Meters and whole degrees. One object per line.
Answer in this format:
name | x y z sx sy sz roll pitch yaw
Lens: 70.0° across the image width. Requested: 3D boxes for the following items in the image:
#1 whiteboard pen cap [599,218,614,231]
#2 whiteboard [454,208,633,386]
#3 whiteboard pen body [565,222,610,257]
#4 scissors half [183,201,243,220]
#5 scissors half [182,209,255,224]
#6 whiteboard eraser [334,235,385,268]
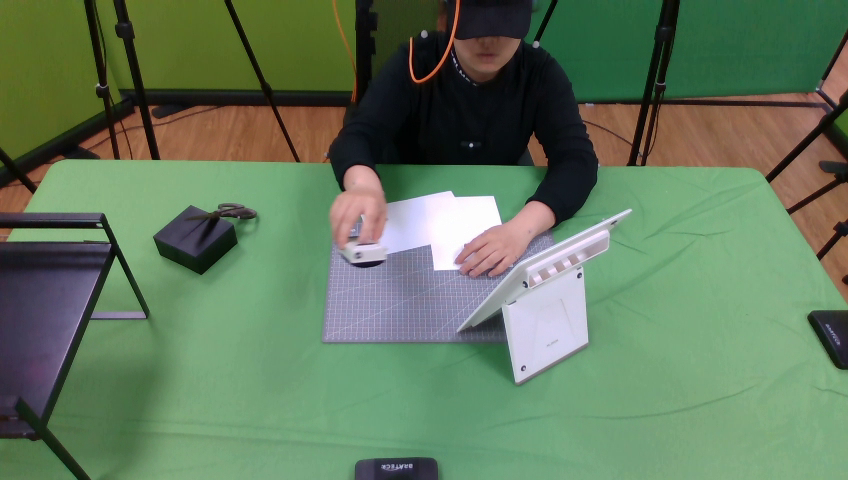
whiteboard pen cap | 0.378 -0.031 1.255 0.033 0.018 0.018 -33 57 -29
whiteboard | 0.211 0.111 0.954 0.217 0.306 0.143 -22 72 -24
whiteboard pen body | 0.335 -0.004 1.228 0.141 0.017 0.017 -32 56 -29
scissors half | -0.405 -0.054 1.164 0.040 0.013 0.175 27 17 8
scissors half | -0.389 -0.043 1.158 0.040 0.013 0.175 38 21 23
whiteboard eraser | -0.104 0.019 0.967 0.056 0.042 0.112 -2 10 -21
